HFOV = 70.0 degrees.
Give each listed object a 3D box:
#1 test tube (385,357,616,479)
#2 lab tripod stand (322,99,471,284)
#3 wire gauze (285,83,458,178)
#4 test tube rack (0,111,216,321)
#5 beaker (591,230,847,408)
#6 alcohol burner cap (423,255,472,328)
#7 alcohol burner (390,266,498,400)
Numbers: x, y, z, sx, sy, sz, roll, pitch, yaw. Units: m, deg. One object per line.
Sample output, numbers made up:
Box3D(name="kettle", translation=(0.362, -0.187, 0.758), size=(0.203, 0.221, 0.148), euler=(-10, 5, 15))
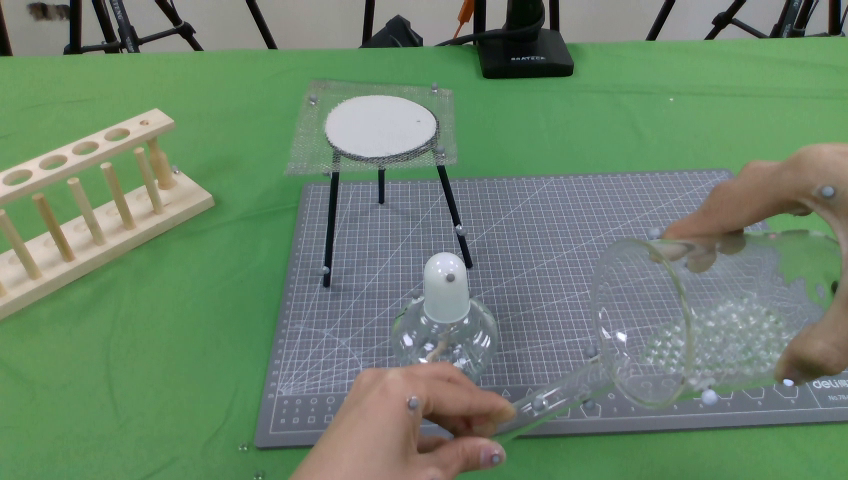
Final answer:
Box3D(name="test tube", translation=(0.035, 0.104, 0.324), size=(0.150, 0.017, 0.017), euler=(-36, 37, 22))
Box3D(name="lab tripod stand", translation=(-0.027, -0.039, 0.511), size=(0.148, 0.132, 0.147), euler=(1, 42, 0))
Box3D(name="wire gauze", translation=(-0.036, -0.087, 0.464), size=(0.121, 0.011, 0.124), euler=(1, 43, 0))
Box3D(name="test tube rack", translation=(-0.316, -0.020, 0.532), size=(0.066, 0.086, 0.242), euler=(33, 52, 31))
Box3D(name="beaker", translation=(0.138, 0.035, 0.279), size=(0.100, 0.084, 0.073), euler=(-5, 53, -14))
Box3D(name="alcohol burner cap", translation=(0.015, 0.031, 0.396), size=(0.034, 0.048, 0.033), euler=(-3, 42, 3))
Box3D(name="alcohol burner", translation=(0.014, 0.057, 0.421), size=(0.078, 0.120, 0.077), euler=(0, 44, 0))
